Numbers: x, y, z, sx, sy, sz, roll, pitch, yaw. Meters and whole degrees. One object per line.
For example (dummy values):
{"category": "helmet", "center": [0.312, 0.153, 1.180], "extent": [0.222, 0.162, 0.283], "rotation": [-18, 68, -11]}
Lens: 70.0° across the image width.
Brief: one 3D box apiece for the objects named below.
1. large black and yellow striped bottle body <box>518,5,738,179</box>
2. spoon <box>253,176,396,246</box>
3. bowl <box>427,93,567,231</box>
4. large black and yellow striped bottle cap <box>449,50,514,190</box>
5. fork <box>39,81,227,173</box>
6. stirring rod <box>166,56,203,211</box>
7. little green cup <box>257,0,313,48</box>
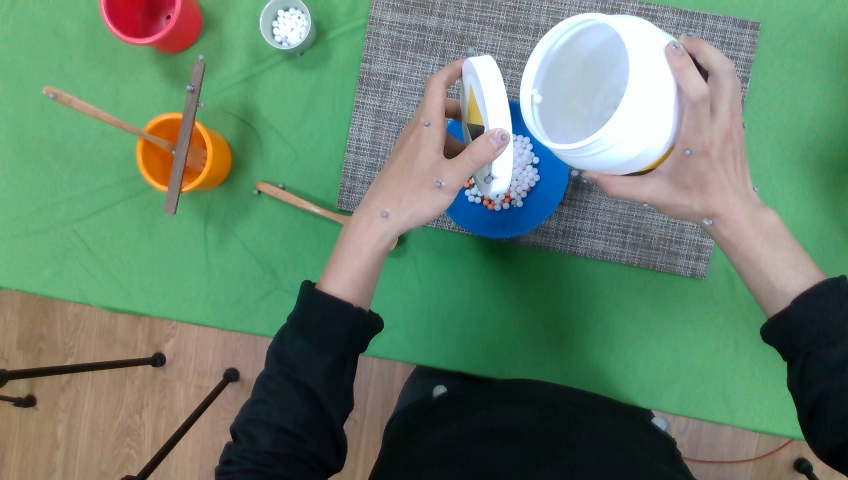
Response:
{"category": "large black and yellow striped bottle body", "center": [0.183, -0.128, 0.545], "extent": [0.130, 0.185, 0.130], "rotation": [-3, 86, 47]}
{"category": "spoon", "center": [-0.123, -0.042, 0.742], "extent": [0.193, 0.021, 0.042], "rotation": [22, 109, 3]}
{"category": "bowl", "center": [0.082, -0.086, 0.689], "extent": [0.151, 0.077, 0.151], "rotation": [0, 94, 5]}
{"category": "large black and yellow striped bottle cap", "center": [0.045, -0.099, 0.508], "extent": [0.019, 0.114, 0.115], "rotation": [-8, 93, -14]}
{"category": "fork", "center": [-0.323, -0.126, 0.691], "extent": [0.209, 0.018, 0.028], "rotation": [25, 100, -40]}
{"category": "stirring rod", "center": [-0.271, -0.119, 0.684], "extent": [0.014, 0.006, 0.176], "rotation": [12, 95, 5]}
{"category": "little green cup", "center": [-0.163, -0.260, 0.722], "extent": [0.061, 0.038, 0.061], "rotation": [0, 94, 6]}
